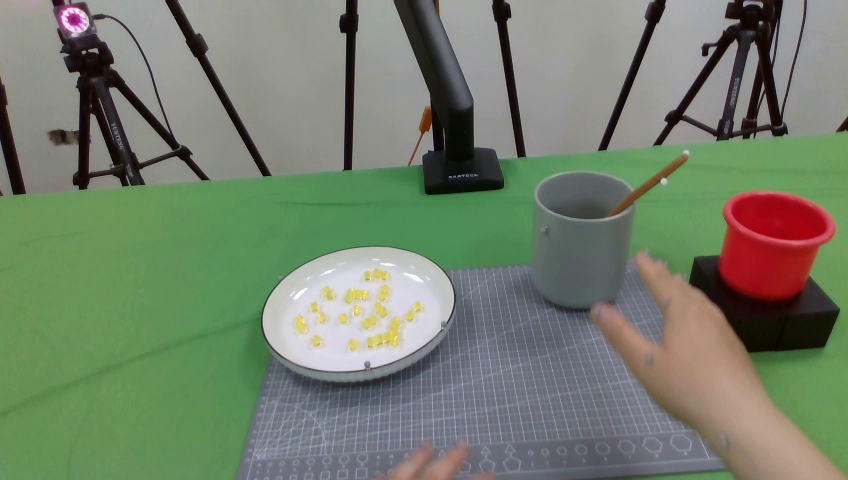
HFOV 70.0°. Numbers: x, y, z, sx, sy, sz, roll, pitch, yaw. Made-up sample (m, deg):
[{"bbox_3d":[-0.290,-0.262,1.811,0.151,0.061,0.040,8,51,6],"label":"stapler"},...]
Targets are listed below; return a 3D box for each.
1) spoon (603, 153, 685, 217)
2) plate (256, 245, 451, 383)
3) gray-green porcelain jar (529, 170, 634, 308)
[{"bbox_3d":[0.194,-0.024,0.624,0.021,0.194,0.041,48,44,15],"label":"spoon"},{"bbox_3d":[-0.073,0.080,0.657,0.207,0.039,0.205,-2,35,2],"label":"plate"},{"bbox_3d":[0.168,0.003,0.665,0.106,0.127,0.105,-3,35,2],"label":"gray-green porcelain jar"}]
